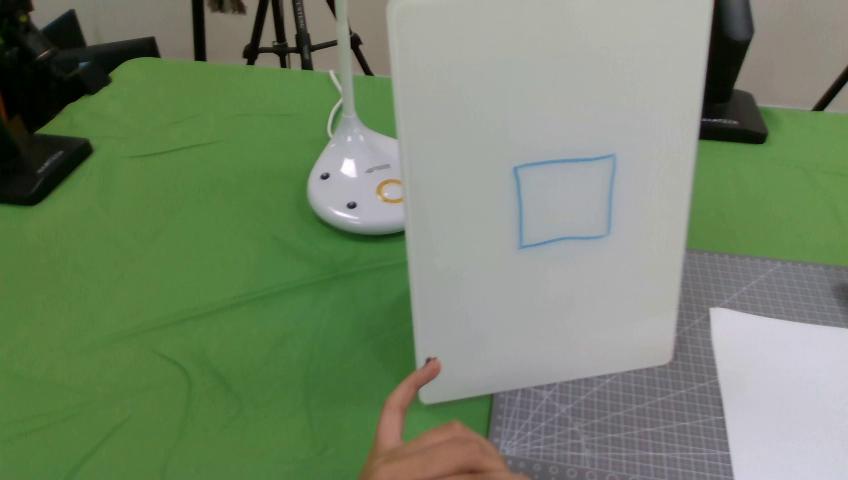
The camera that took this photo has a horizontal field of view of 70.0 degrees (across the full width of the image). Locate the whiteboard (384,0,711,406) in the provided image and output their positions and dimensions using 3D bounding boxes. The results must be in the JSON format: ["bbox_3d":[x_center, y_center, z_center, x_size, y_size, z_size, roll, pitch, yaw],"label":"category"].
[{"bbox_3d":[0.083,-0.047,0.498,0.217,0.307,0.142,-7,24,-6],"label":"whiteboard"}]

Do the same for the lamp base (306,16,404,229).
[{"bbox_3d":[-0.061,-0.131,0.639,0.161,0.182,0.177,-28,46,-27],"label":"lamp base"}]
